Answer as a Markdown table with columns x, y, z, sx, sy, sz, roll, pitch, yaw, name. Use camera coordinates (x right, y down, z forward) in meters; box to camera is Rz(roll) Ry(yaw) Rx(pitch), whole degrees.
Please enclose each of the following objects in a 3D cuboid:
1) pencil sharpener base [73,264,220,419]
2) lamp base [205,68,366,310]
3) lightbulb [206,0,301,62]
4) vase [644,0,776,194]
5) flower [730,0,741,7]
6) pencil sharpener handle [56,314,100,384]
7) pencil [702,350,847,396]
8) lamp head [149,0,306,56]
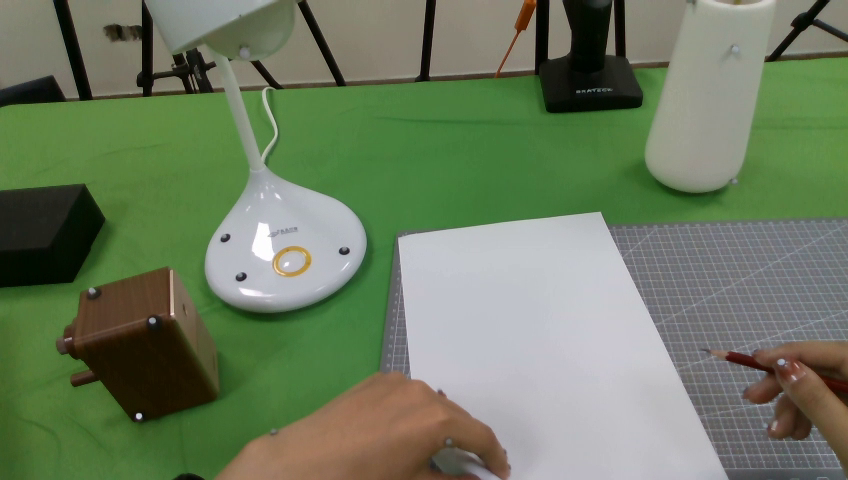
| x | y | z | sx | sy | sz | roll | pitch | yaw | name |
| --- | --- | --- | --- | --- | --- | --- | --- | --- | --- |
| -0.216 | 0.083 | 0.478 | 0.077 | 0.108 | 0.060 | -16 | 44 | -10 | pencil sharpener base |
| -0.151 | -0.055 | 0.564 | 0.161 | 0.182 | 0.177 | -23 | 44 | -18 | lamp base |
| -0.107 | -0.155 | 0.339 | 0.059 | 0.108 | 0.059 | -14 | 20 | 5 | lightbulb |
| 0.278 | -0.144 | 0.597 | 0.098 | 0.202 | 0.097 | -4 | 42 | 4 | vase |
| 0.264 | -0.190 | 0.526 | 0.043 | 0.365 | 0.038 | 40 | 73 | 22 | flower |
| -0.266 | 0.087 | 0.461 | 0.031 | 0.068 | 0.035 | -16 | 47 | -10 | pencil sharpener handle |
| 0.245 | 0.086 | 0.337 | 0.012 | 0.012 | 0.192 | -34 | 24 | -27 | pencil |
| -0.117 | -0.179 | 0.336 | 0.112 | 0.123 | 0.112 | -24 | 17 | 8 | lamp head |
